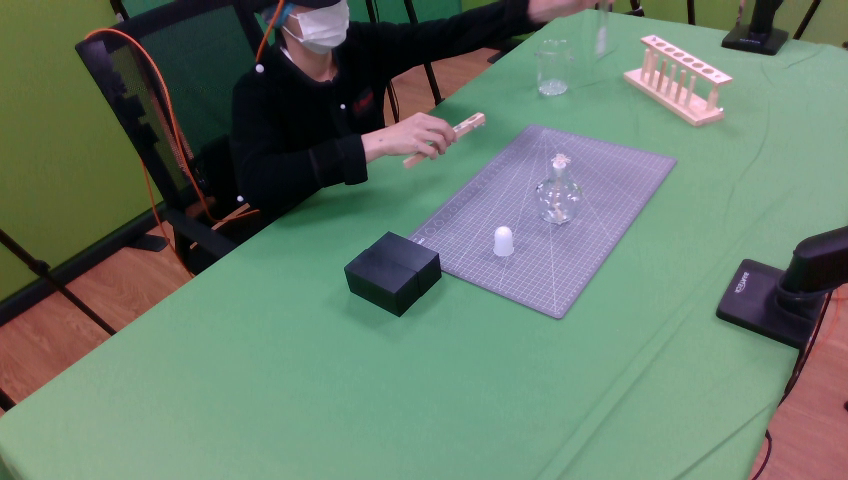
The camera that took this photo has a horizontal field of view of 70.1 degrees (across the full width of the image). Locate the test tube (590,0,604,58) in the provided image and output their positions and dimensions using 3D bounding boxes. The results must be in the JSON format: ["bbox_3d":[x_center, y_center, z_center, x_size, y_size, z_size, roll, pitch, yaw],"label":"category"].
[{"bbox_3d":[0.293,-0.382,1.020,0.017,0.151,0.017,-3,34,3],"label":"test tube"}]

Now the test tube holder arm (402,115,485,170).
[{"bbox_3d":[0.035,-0.169,1.039,0.179,0.015,0.013,-35,38,-22],"label":"test tube holder arm"}]

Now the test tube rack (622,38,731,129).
[{"bbox_3d":[0.506,-0.325,1.234,0.067,0.085,0.240,-18,41,-11],"label":"test tube rack"}]

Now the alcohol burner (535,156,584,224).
[{"bbox_3d":[0.217,-0.085,0.967,0.078,0.119,0.077,-3,41,3],"label":"alcohol burner"}]

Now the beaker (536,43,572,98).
[{"bbox_3d":[0.281,-0.368,1.311,0.074,0.101,0.084,4,41,14],"label":"beaker"}]

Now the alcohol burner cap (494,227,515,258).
[{"bbox_3d":[0.124,0.001,0.936,0.034,0.048,0.033,-4,40,4],"label":"alcohol burner cap"}]

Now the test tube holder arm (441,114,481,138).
[{"bbox_3d":[0.066,-0.196,1.060,0.088,0.015,0.010,-35,38,-22],"label":"test tube holder arm"}]
